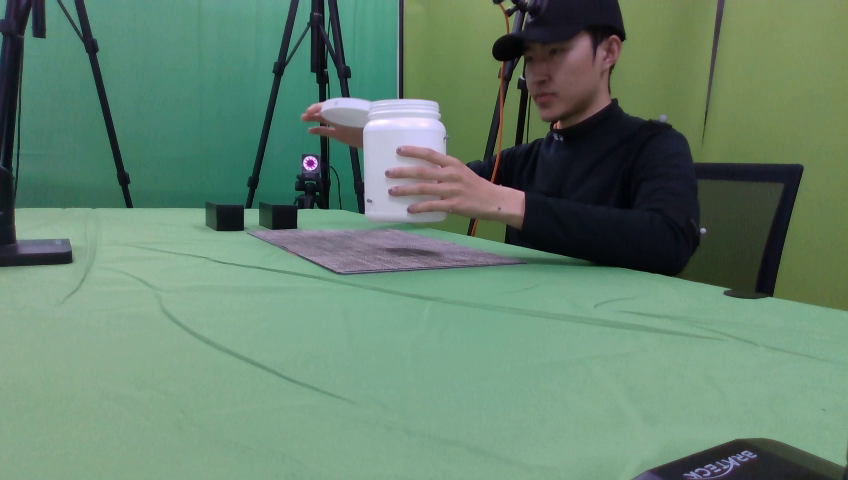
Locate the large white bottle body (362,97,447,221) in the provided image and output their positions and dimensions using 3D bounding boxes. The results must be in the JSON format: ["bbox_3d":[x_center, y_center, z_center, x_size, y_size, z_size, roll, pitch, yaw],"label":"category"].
[{"bbox_3d":[-0.030,-0.124,0.948,0.131,0.184,0.130,-1,6,0],"label":"large white bottle body"}]

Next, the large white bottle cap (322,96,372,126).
[{"bbox_3d":[-0.124,-0.229,1.078,0.115,0.018,0.115,4,-7,1],"label":"large white bottle cap"}]
